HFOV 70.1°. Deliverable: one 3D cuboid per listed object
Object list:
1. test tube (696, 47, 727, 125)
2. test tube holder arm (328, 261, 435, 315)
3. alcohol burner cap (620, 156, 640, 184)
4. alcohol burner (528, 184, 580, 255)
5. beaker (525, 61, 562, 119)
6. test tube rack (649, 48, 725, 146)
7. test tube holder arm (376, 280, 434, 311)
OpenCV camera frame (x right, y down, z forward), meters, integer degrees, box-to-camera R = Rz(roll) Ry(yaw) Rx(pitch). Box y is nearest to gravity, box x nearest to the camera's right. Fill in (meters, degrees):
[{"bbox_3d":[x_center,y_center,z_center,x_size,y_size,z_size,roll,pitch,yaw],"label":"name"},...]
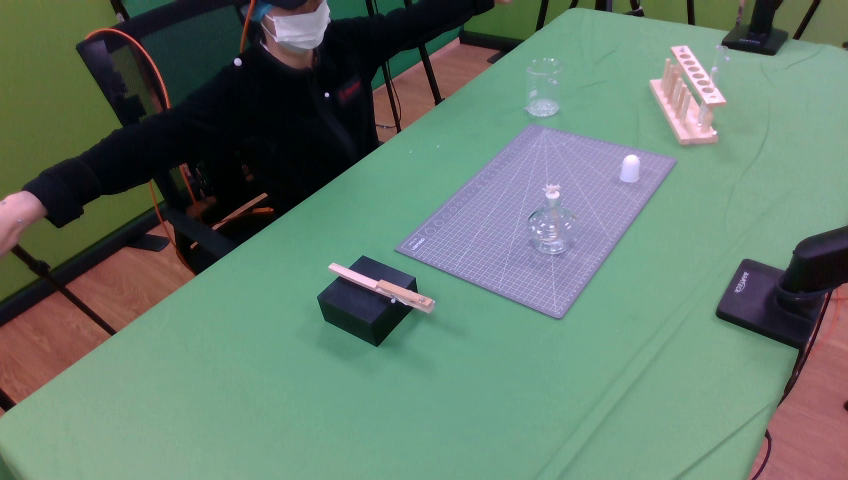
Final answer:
[{"bbox_3d":[0.519,-0.276,1.094,0.017,0.151,0.017,-1,42,1],"label":"test tube"},{"bbox_3d":[-0.063,0.065,0.836,0.177,0.013,0.015,20,49,28],"label":"test tube holder arm"},{"bbox_3d":[0.358,-0.124,1.047,0.034,0.048,0.033,-4,40,4],"label":"alcohol burner cap"},{"bbox_3d":[0.196,-0.036,0.911,0.078,0.119,0.077,-6,41,5],"label":"alcohol burner"},{"bbox_3d":[0.248,-0.308,1.245,0.073,0.101,0.084,29,52,36],"label":"beaker"},{"bbox_3d":[0.508,-0.285,1.186,0.067,0.085,0.241,-4,40,6],"label":"test tube rack"},{"bbox_3d":[-0.026,0.074,0.811,0.087,0.010,0.015,19,48,29],"label":"test tube holder arm"}]
